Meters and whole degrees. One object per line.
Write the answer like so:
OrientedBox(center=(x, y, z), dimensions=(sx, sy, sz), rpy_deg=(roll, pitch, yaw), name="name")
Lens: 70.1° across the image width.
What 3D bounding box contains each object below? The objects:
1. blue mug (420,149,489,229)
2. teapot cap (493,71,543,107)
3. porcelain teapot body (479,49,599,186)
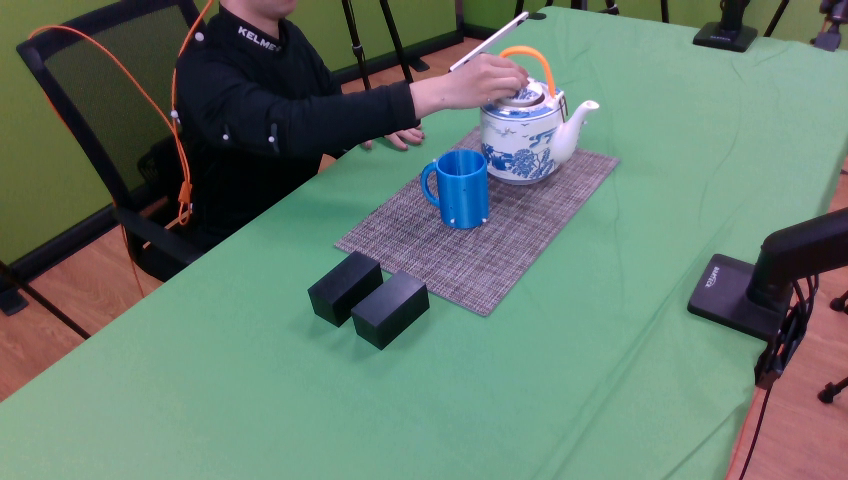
OrientedBox(center=(0.048, -0.085, 0.991), dimensions=(0.116, 0.106, 0.082), rpy_deg=(9, 43, 19), name="blue mug")
OrientedBox(center=(0.157, -0.255, 1.006), dimensions=(0.085, 0.044, 0.084), rpy_deg=(0, 47, 0), name="teapot cap")
OrientedBox(center=(0.192, -0.208, 1.023), dimensions=(0.204, 0.226, 0.145), rpy_deg=(16, 46, 25), name="porcelain teapot body")
